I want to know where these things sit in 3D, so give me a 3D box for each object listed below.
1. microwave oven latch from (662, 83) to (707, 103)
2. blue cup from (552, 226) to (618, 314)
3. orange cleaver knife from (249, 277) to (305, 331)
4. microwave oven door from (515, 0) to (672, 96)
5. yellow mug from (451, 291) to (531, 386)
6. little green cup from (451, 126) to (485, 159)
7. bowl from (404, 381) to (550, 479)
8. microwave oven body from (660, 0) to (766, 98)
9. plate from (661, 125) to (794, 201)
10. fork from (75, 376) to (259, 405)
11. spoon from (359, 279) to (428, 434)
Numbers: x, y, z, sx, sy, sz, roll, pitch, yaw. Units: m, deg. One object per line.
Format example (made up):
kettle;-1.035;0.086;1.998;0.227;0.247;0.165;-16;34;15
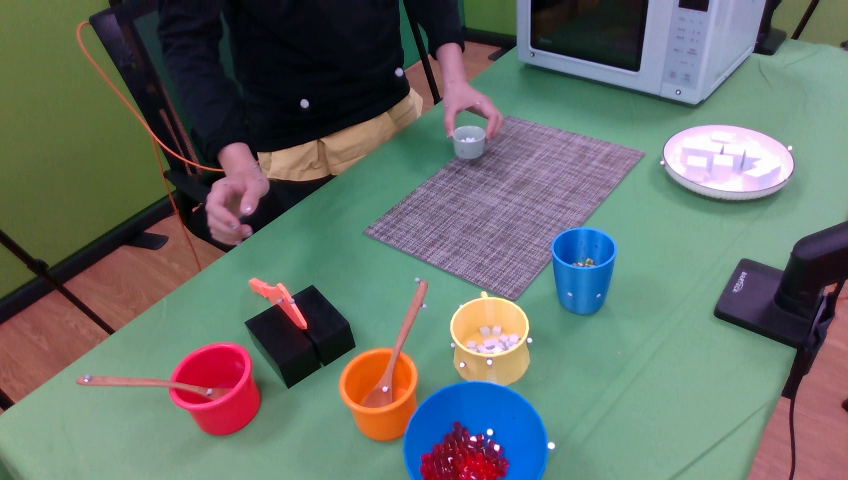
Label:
microwave oven latch;0.517;-0.296;1.204;0.078;0.029;0.030;27;52;35
blue cup;0.218;0.047;0.825;0.092;0.100;0.092;-6;40;5
orange cleaver knife;-0.210;0.088;0.855;0.012;0.077;0.210;-28;15;-25
microwave oven door;0.343;-0.455;1.259;0.353;0.245;0.039;26;51;33
yellow mug;0.085;0.120;0.786;0.100;0.064;0.130;-7;39;1
little green cup;0.079;-0.178;1.106;0.061;0.039;0.061;1;39;0
bowl;0.058;0.235;0.645;0.151;0.077;0.150;-4;39;4
microwave oven body;0.472;-0.513;1.317;0.438;0.261;0.327;26;51;34
plate;0.513;-0.128;1.035;0.207;0.039;0.206;-4;40;4
fork;-0.295;0.176;0.716;0.209;0.018;0.028;19;27;-36
spoon;-0.032;0.138;0.719;0.041;0.193;0.022;22;4;30
